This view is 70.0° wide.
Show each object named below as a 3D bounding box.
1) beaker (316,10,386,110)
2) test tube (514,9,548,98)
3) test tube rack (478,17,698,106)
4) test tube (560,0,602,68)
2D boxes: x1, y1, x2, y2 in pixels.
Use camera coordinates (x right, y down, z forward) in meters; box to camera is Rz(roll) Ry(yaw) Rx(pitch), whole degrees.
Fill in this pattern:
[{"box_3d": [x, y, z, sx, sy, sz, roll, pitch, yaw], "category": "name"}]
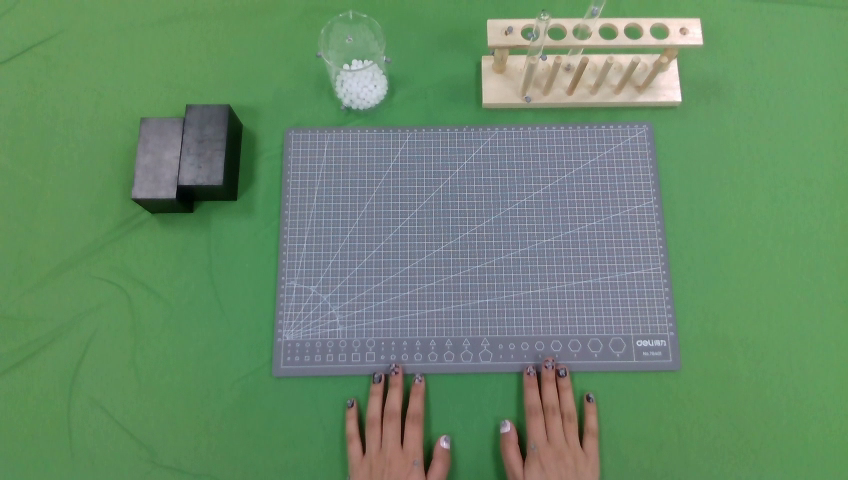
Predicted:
[{"box_3d": [-0.082, -0.208, 0.715, 0.074, 0.101, 0.083, -5, 74, -1], "category": "beaker"}, {"box_3d": [0.118, -0.204, 0.675, 0.017, 0.151, 0.017, 0, 72, 1], "category": "test tube"}, {"box_3d": [0.189, -0.211, 0.722, 0.242, 0.085, 0.066, -1, 74, 0], "category": "test tube rack"}, {"box_3d": [0.178, -0.241, 0.680, 0.017, 0.151, 0.017, 1, 72, -2], "category": "test tube"}]
